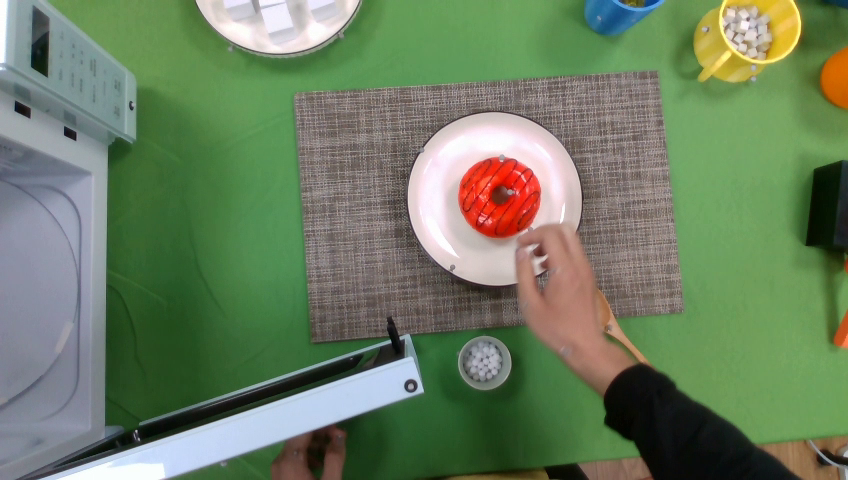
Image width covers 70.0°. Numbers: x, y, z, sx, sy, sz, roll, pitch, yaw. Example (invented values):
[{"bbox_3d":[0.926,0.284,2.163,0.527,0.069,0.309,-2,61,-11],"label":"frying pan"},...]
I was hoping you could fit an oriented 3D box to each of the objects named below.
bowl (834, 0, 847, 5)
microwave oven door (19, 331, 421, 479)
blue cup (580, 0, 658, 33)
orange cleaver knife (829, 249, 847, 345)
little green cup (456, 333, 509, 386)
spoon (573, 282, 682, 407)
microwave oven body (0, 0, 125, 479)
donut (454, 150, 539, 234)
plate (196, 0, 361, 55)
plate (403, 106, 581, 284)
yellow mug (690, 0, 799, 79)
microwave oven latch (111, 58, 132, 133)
[{"bbox_3d":[0.527,-0.349,0.741,0.151,0.077,0.151,0,86,-2],"label":"bowl"},{"bbox_3d":[-0.177,0.165,0.573,0.356,0.244,0.039,-18,85,-4],"label":"microwave oven door"},{"bbox_3d":[0.228,-0.292,0.712,0.093,0.100,0.092,0,87,-3],"label":"blue cup"},{"bbox_3d":[0.521,0.023,0.713,0.012,0.076,0.212,11,115,1],"label":"orange cleaver knife"},{"bbox_3d":[0.066,0.137,0.706,0.061,0.038,0.061,0,86,-2],"label":"little green cup"},{"bbox_3d":[0.243,0.127,0.720,0.041,0.021,0.193,-42,90,-21],"label":"spoon"},{"bbox_3d":[-0.489,0.008,0.574,0.326,0.260,0.441,-1,87,-3],"label":"microwave oven body"},{"bbox_3d":[0.084,-0.055,0.705,0.099,0.048,0.099,0,87,0],"label":"donut"},{"bbox_3d":[-0.172,-0.320,0.727,0.208,0.039,0.207,0,86,-3],"label":"plate"},{"bbox_3d":[0.079,-0.052,0.716,0.209,0.038,0.208,0,86,-2],"label":"plate"},{"bbox_3d":[0.375,-0.244,0.732,0.100,0.064,0.131,44,86,1],"label":"yellow mug"},{"bbox_3d":[-0.349,-0.164,0.689,0.030,0.029,0.079,0,87,-3],"label":"microwave oven latch"}]
